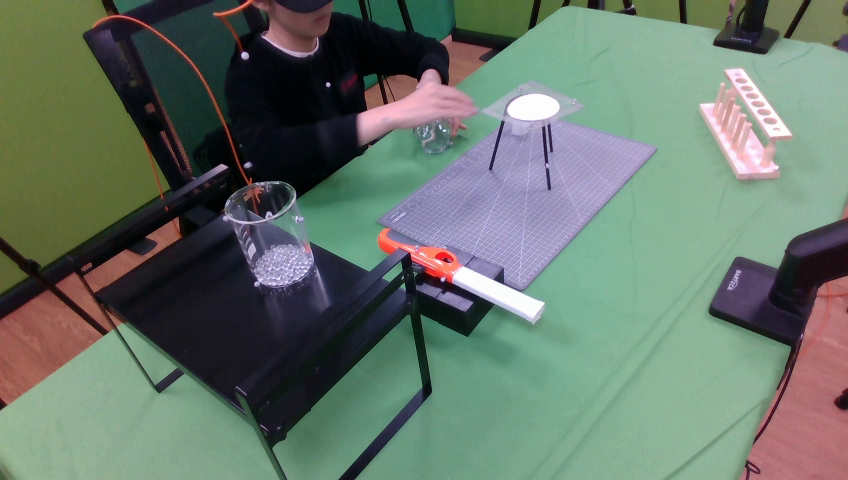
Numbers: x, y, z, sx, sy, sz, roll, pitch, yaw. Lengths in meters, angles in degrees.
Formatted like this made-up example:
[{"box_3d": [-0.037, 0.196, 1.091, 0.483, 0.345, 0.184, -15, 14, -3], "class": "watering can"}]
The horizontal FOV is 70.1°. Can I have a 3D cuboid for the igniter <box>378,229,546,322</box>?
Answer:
[{"box_3d": [0.041, 0.043, 0.843, 0.274, 0.025, 0.057, 24, 47, 29], "class": "igniter"}]

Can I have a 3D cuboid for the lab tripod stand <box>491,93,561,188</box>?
[{"box_3d": [0.189, -0.180, 1.066, 0.148, 0.132, 0.147, -5, 42, 5], "class": "lab tripod stand"}]

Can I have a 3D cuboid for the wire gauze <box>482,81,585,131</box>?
[{"box_3d": [0.183, -0.224, 1.015, 0.125, 0.011, 0.120, -32, 46, -23], "class": "wire gauze"}]

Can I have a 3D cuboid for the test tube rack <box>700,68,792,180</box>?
[{"box_3d": [0.572, -0.215, 1.090, 0.066, 0.085, 0.241, -3, 41, 7], "class": "test tube rack"}]

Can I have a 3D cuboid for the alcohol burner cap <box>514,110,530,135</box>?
[{"box_3d": [0.194, -0.235, 1.200, 0.034, 0.048, 0.033, -5, 42, 5], "class": "alcohol burner cap"}]

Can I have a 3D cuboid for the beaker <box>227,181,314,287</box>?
[{"box_3d": [-0.166, -0.006, 0.670, 0.074, 0.101, 0.083, -8, 40, 0], "class": "beaker"}]

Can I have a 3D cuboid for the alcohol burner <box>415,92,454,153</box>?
[{"box_3d": [0.019, -0.231, 1.171, 0.078, 0.119, 0.077, -4, 39, 4], "class": "alcohol burner"}]
